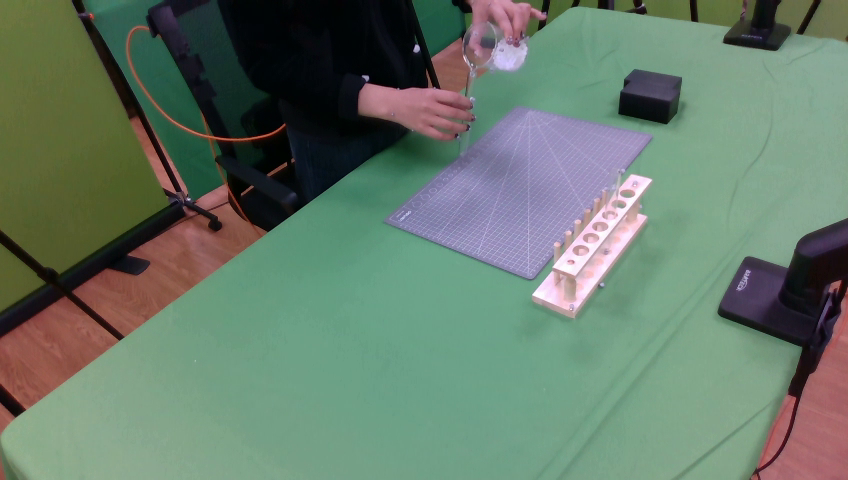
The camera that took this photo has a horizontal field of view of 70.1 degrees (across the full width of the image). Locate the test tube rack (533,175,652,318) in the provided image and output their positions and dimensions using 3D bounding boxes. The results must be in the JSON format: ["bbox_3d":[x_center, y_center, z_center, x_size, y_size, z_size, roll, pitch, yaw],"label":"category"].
[{"bbox_3d":[0.251,-0.001,0.889,0.066,0.085,0.243,22,49,33],"label":"test tube rack"}]

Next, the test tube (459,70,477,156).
[{"bbox_3d":[0.076,-0.220,1.056,0.017,0.151,0.017,5,26,-2],"label":"test tube"}]

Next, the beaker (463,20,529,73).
[{"bbox_3d":[0.126,-0.327,1.042,0.101,0.084,0.073,-7,34,-45],"label":"beaker"}]

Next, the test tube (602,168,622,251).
[{"bbox_3d":[0.264,-0.039,0.853,0.017,0.151,0.017,-5,44,6],"label":"test tube"}]
